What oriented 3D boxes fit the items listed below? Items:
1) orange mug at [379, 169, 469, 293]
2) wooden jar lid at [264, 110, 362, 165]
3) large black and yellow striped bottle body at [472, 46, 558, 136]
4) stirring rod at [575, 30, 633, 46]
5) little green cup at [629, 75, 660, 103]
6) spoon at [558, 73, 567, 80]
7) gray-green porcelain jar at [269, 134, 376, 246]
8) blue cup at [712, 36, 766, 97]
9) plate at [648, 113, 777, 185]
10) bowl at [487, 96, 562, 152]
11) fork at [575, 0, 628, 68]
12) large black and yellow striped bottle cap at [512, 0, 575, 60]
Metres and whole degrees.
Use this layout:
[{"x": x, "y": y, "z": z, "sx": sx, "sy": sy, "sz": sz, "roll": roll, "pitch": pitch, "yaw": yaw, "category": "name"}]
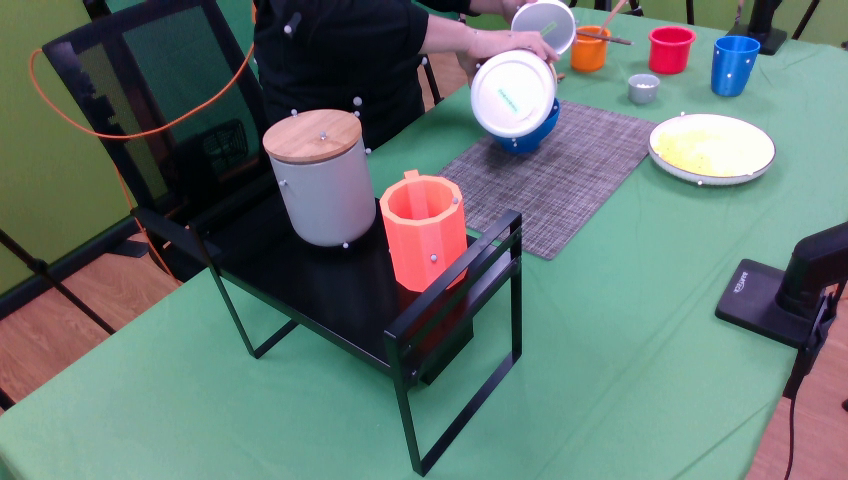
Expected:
[{"x": -0.002, "y": -0.019, "z": 0.665, "sx": 0.083, "sy": 0.101, "sz": 0.125, "roll": -12, "pitch": 45, "yaw": -4, "category": "orange mug"}, {"x": -0.122, "y": -0.112, "z": 0.673, "sx": 0.108, "sy": 0.021, "sz": 0.108, "roll": -4, "pitch": 37, "yaw": 4, "category": "wooden jar lid"}, {"x": 0.158, "y": -0.255, "z": 1.014, "sx": 0.130, "sy": 0.131, "sz": 0.184, "roll": 3, "pitch": 22, "yaw": 13, "category": "large black and yellow striped bottle body"}, {"x": 0.382, "y": -0.454, "z": 1.345, "sx": 0.174, "sy": 0.006, "sz": 0.014, "roll": 27, "pitch": 53, "yaw": 34, "category": "stirring rod"}, {"x": 0.457, "y": -0.314, "z": 1.260, "sx": 0.061, "sy": 0.039, "sz": 0.061, "roll": -4, "pitch": 40, "yaw": 4, "category": "little green cup"}, {"x": 0.250, "y": -0.337, "z": 1.332, "sx": 0.194, "sy": 0.022, "sz": 0.041, "roll": -32, "pitch": 32, "yaw": -25, "category": "spoon"}, {"x": -0.115, "y": -0.064, "z": 0.715, "sx": 0.106, "sy": 0.127, "sz": 0.105, "roll": -4, "pitch": 40, "yaw": 4, "category": "gray-green porcelain jar"}, {"x": 0.627, "y": -0.350, "z": 1.227, "sx": 0.092, "sy": 0.100, "sz": 0.092, "roll": -4, "pitch": 39, "yaw": 4, "category": "blue cup"}, {"x": 0.506, "y": -0.158, "z": 1.073, "sx": 0.209, "sy": 0.038, "sz": 0.208, "roll": -5, "pitch": 40, "yaw": 4, "category": "plate"}, {"x": 0.187, "y": -0.222, "z": 1.161, "sx": 0.151, "sy": 0.077, "sz": 0.150, "roll": -4, "pitch": 40, "yaw": 4, "category": "bowl"}, {"x": 0.413, "y": -0.481, "z": 1.377, "sx": 0.207, "sy": 0.019, "sz": 0.028, "roll": -57, "pitch": 43, "yaw": 12, "category": "fork"}, {"x": 0.218, "y": -0.380, "z": 1.103, "sx": 0.115, "sy": 0.115, "sz": 0.018, "roll": 1, "pitch": 51, "yaw": 10, "category": "large black and yellow striped bottle cap"}]
